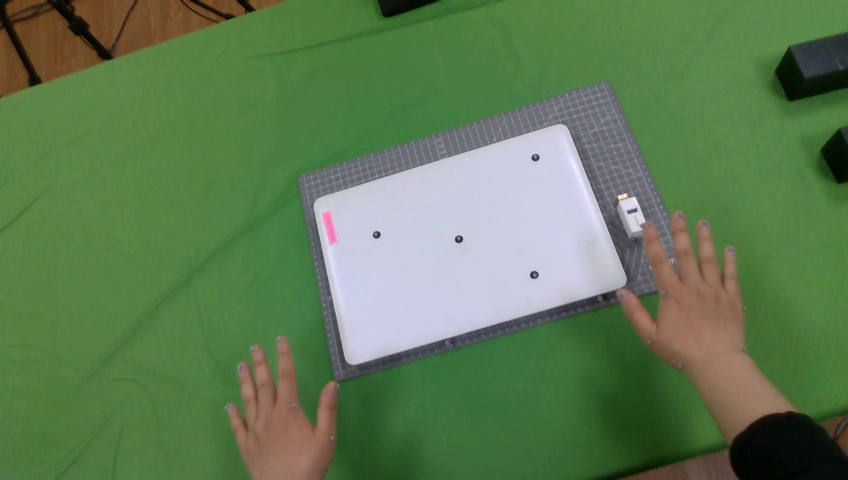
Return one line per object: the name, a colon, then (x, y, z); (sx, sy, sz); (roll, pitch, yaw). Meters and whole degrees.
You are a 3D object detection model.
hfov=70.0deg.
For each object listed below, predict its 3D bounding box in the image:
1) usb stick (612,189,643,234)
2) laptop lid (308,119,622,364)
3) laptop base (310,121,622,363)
usb stick: (0.247, -0.039, 0.742); (0.021, 0.027, 0.058); (-18, 65, 7)
laptop lid: (0.040, -0.004, 0.759); (0.356, 0.013, 0.240); (-16, 71, 4)
laptop base: (0.042, -0.002, 0.771); (0.354, 0.023, 0.234); (-17, 71, 3)
